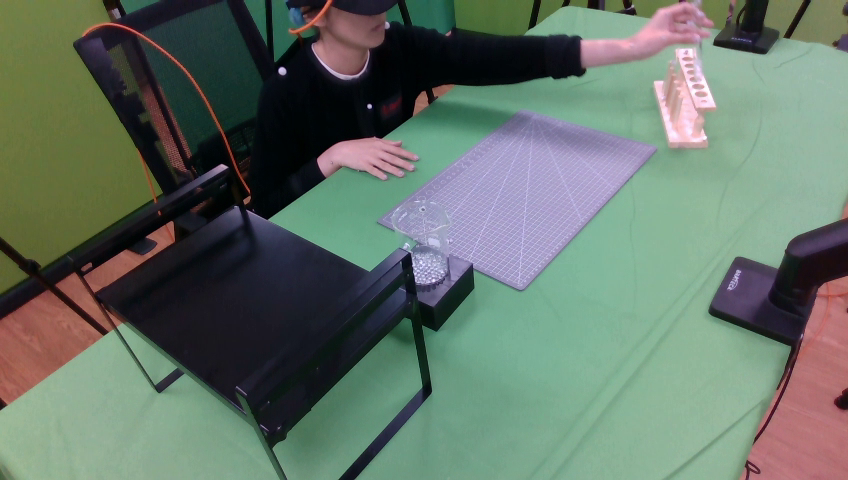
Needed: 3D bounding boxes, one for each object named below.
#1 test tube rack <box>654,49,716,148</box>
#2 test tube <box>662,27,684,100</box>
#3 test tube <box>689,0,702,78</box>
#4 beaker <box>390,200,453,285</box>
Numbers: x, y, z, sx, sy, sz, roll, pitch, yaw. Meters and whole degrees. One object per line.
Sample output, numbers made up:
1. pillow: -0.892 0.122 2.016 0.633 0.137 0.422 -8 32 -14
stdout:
1. test tube rack: 0.502 -0.281 1.176 0.066 0.085 0.241 2 42 11
2. test tube: 0.486 -0.342 1.181 0.017 0.151 0.017 -3 42 3
3. test tube: 0.473 -0.349 1.051 0.017 0.151 0.017 -14 41 13
4. beaker: 0.002 0.006 0.831 0.084 0.101 0.074 5 42 13
